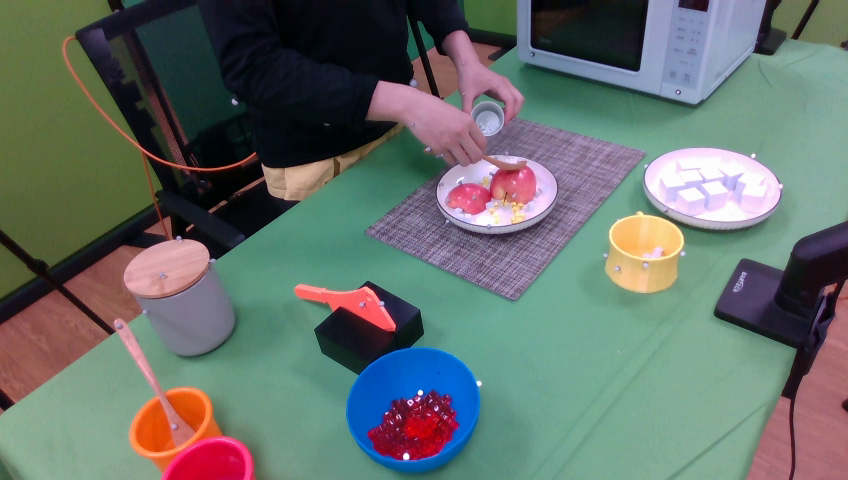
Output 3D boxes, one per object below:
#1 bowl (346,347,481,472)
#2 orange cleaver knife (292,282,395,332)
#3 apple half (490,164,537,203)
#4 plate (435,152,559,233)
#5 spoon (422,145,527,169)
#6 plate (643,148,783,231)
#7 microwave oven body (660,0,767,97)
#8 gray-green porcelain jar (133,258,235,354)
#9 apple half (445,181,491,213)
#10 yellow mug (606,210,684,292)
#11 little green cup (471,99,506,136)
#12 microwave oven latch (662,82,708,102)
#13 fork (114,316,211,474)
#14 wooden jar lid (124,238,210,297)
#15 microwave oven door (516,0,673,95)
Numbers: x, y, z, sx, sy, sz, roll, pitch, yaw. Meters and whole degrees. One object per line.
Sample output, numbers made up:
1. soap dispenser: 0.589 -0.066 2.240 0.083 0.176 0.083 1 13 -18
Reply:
1. bowl: -0.008 0.205 0.691 0.151 0.077 0.150 -4 40 4
2. orange cleaver knife: -0.116 0.091 0.835 0.209 0.077 0.012 2 32 48
3. apple half: 0.154 -0.106 1.030 0.080 0.053 0.075 22 46 31
4. plate: 0.124 -0.078 1.026 0.209 0.038 0.208 -4 40 4
5. spoon: 0.082 -0.134 0.955 0.195 0.021 0.041 8 12 -29
6. plate: 0.464 -0.080 0.986 0.207 0.039 0.206 -4 41 4
7. microwave oven body: 0.474 -0.517 1.313 0.438 0.261 0.327 26 51 34
8. gray-green porcelain jar: -0.328 0.086 0.836 0.106 0.127 0.105 -4 41 4
9. apple half: 0.076 -0.083 1.029 0.081 0.033 0.081 -1 42 2
10. yellow mug: 0.318 0.007 0.883 0.100 0.064 0.130 0 41 8
11. little green cup: 0.113 -0.215 1.073 0.061 0.038 0.061 0 86 3
12. microwave oven latch: 0.518 -0.298 1.203 0.078 0.029 0.030 28 53 35
13. fork: -0.309 0.179 0.708 0.028 0.018 0.207 -30 89 -24
14. wooden jar lid: -0.335 0.039 0.794 0.108 0.021 0.108 -2 40 2
15. microwave oven door: 0.344 -0.458 1.257 0.353 0.245 0.039 26 52 33
